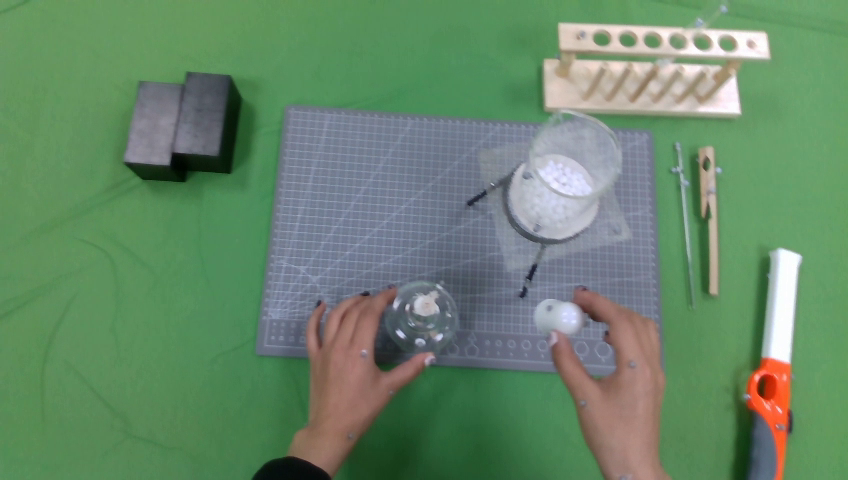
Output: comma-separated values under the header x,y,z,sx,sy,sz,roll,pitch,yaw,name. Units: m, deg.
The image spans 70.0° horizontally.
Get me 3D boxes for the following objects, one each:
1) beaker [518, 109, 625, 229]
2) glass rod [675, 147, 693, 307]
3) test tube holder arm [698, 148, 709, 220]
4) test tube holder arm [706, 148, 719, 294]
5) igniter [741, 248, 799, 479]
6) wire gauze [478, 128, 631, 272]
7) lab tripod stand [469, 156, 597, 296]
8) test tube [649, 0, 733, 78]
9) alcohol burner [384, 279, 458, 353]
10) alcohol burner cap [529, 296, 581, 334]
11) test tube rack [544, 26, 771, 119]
x,y,z,sx,sy,sz,roll,pitch,yaw,name
0.123,-0.057,0.535,0.074,0.101,0.083,-11,75,-3,beaker
0.307,-0.019,0.719,0.008,0.008,0.198,3,75,-2,glass rod
0.338,-0.067,0.729,0.010,0.015,0.087,-5,73,32,test tube holder arm
0.340,-0.024,0.715,0.013,0.015,0.177,-6,73,31,test tube holder arm
0.385,0.142,0.671,0.057,0.025,0.275,17,75,-8,igniter
0.123,-0.042,0.580,0.121,0.011,0.124,-13,77,-3,wire gauze
0.115,-0.023,0.643,0.148,0.132,0.147,0,75,-1,lab tripod stand
0.295,-0.226,0.683,0.017,0.150,0.017,2,74,-8,test tube
-0.002,0.074,0.622,0.078,0.119,0.077,1,73,-2,alcohol burner
0.114,0.064,0.515,0.034,0.048,0.034,2,84,-17,alcohol burner cap
0.274,-0.198,0.725,0.242,0.085,0.066,2,75,-2,test tube rack
